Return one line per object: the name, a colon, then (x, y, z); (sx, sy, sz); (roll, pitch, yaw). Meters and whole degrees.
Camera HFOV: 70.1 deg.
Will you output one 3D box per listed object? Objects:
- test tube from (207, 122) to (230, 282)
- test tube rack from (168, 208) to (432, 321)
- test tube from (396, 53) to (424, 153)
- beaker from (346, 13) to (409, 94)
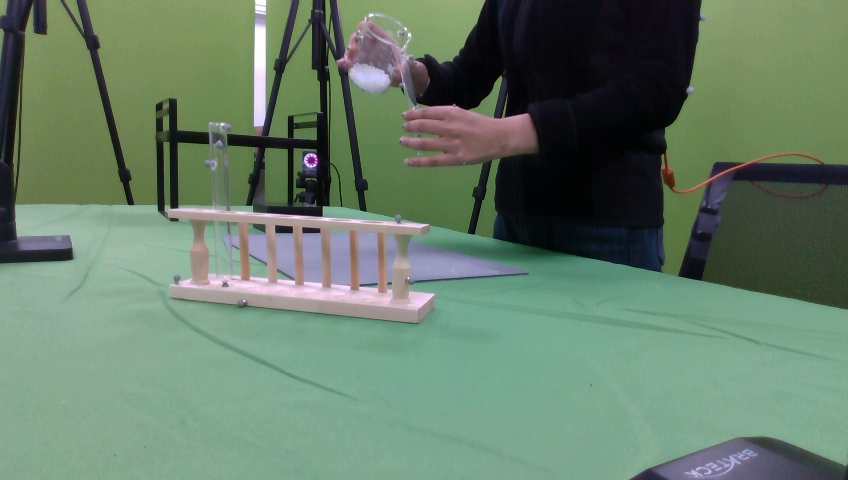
test tube: (-0.192, -0.034, 0.564); (0.017, 0.150, 0.017); (2, 11, 0)
test tube rack: (-0.116, 0.018, 0.573); (0.242, 0.085, 0.067); (4, 8, 13)
test tube: (-0.020, -0.199, 0.881); (0.017, 0.150, 0.017); (-11, -4, -1)
beaker: (-0.074, -0.283, 0.935); (0.074, 0.100, 0.083); (-22, 65, -40)
